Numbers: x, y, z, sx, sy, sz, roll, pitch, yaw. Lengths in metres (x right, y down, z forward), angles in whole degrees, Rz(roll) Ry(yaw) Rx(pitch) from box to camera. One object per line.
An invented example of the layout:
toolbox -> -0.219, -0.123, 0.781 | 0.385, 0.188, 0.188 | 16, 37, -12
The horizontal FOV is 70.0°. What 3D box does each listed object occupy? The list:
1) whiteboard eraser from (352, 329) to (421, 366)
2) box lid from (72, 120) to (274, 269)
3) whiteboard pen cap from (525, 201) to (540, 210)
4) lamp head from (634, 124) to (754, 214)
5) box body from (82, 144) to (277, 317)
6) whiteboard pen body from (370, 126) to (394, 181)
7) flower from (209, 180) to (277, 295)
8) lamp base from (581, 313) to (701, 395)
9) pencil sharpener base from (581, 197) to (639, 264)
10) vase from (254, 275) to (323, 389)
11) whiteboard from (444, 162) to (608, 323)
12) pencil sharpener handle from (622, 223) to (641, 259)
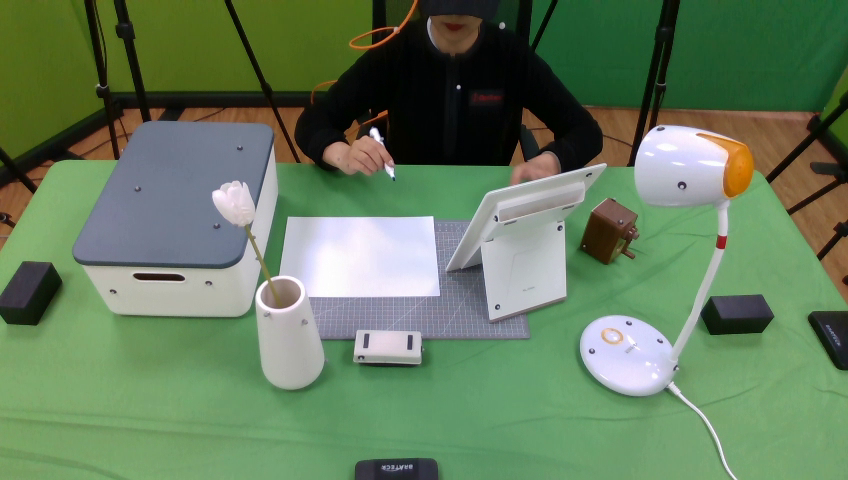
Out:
whiteboard eraser -> -0.061, 0.179, 1.005 | 0.113, 0.042, 0.055 | 3, 49, -3
box lid -> -0.417, -0.094, 1.056 | 0.263, 0.015, 0.369 | 1, 47, -3
whiteboard pen cap -> 0.230, -0.074, 1.289 | 0.033, 0.018, 0.018 | 5, 46, 4
lamp head -> 0.351, -0.089, 0.776 | 0.112, 0.113, 0.122 | -30, 30, -28
box body -> -0.422, -0.041, 1.108 | 0.254, 0.161, 0.361 | 2, 46, -3
whiteboard pen body -> -0.080, -0.167, 1.168 | 0.017, 0.017, 0.140 | -13, 59, -15
flower -> -0.217, 0.075, 0.871 | 0.044, 0.363, 0.038 | -28, 36, -19
lamp base -> 0.361, 0.144, 0.973 | 0.178, 0.181, 0.160 | 34, 53, 23
pencil sharpener base -> 0.362, -0.017, 1.179 | 0.076, 0.107, 0.061 | 37, 54, 27
vase -> -0.209, 0.143, 0.921 | 0.098, 0.201, 0.097 | 1, 46, -1
whiteboard -> 0.186, 0.025, 1.029 | 0.217, 0.306, 0.143 | -14, 68, -17
pencil sharpener handle -> 0.397, 0.002, 1.146 | 0.030, 0.068, 0.036 | 37, 46, 27
